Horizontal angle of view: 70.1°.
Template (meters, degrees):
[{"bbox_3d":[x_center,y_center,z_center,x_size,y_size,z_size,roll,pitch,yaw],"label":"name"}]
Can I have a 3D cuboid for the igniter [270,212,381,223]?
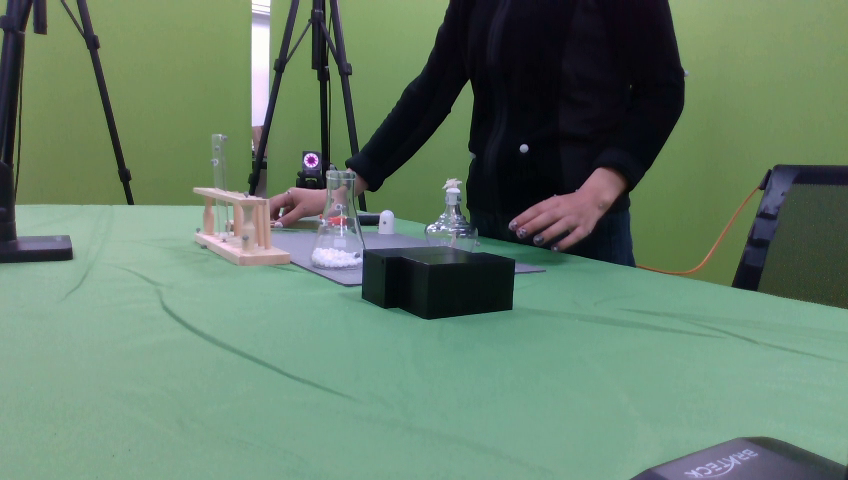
[{"bbox_3d":[-0.213,-0.047,1.278,0.278,0.025,0.057,-1,-2,-25],"label":"igniter"}]

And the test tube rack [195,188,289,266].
[{"bbox_3d":[-0.266,-0.025,0.864,0.067,0.085,0.241,-2,8,-33],"label":"test tube rack"}]

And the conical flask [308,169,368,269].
[{"bbox_3d":[-0.107,-0.028,0.762,0.075,0.122,0.075,2,7,0],"label":"conical flask"}]

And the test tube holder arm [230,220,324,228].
[{"bbox_3d":[-0.275,-0.030,1.144,0.179,0.015,0.013,-2,44,-31],"label":"test tube holder arm"}]

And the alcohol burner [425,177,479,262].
[{"bbox_3d":[0.040,-0.029,0.853,0.078,0.119,0.078,2,9,0],"label":"alcohol burner"}]

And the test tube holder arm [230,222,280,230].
[{"bbox_3d":[-0.312,-0.025,1.118,0.088,0.015,0.010,-1,43,-30],"label":"test tube holder arm"}]

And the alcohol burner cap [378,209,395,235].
[{"bbox_3d":[-0.071,-0.035,1.145,0.034,0.048,0.034,2,9,0],"label":"alcohol burner cap"}]

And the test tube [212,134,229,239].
[{"bbox_3d":[-0.290,-0.076,0.863,0.017,0.150,0.017,-2,6,0],"label":"test tube"}]

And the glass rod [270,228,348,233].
[{"bbox_3d":[-0.235,-0.017,1.105,0.201,0.008,0.008,1,7,-26],"label":"glass rod"}]
